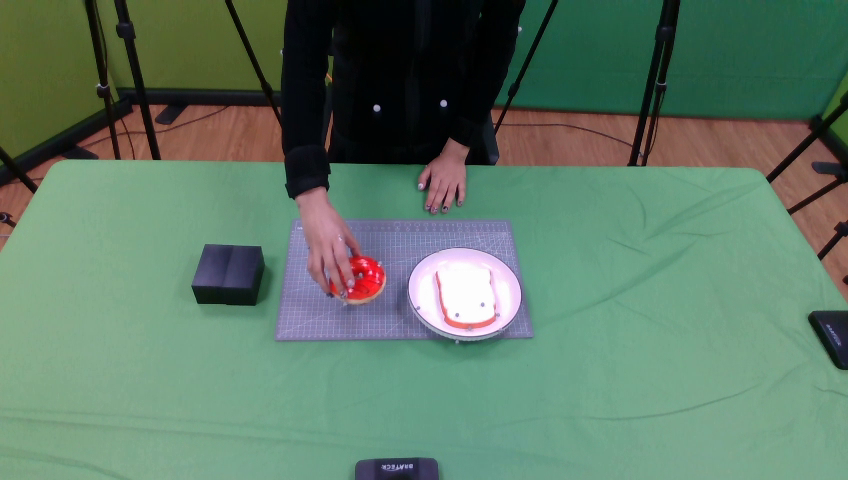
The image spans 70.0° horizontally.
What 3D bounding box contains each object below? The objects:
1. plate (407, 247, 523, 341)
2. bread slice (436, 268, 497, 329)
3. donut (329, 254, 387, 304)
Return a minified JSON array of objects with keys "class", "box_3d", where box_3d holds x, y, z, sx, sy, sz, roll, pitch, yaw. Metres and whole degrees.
[{"class":"plate","box_3d":[0.073,0.099,1.093,0.209,0.038,0.208,2,46,-2]},{"class":"bread slice","box_3d":[0.081,0.103,1.091,0.105,0.019,0.130,-3,46,-5]},{"class":"donut","box_3d":[-0.112,0.065,1.035,0.099,0.048,0.098,0,47,1]}]
